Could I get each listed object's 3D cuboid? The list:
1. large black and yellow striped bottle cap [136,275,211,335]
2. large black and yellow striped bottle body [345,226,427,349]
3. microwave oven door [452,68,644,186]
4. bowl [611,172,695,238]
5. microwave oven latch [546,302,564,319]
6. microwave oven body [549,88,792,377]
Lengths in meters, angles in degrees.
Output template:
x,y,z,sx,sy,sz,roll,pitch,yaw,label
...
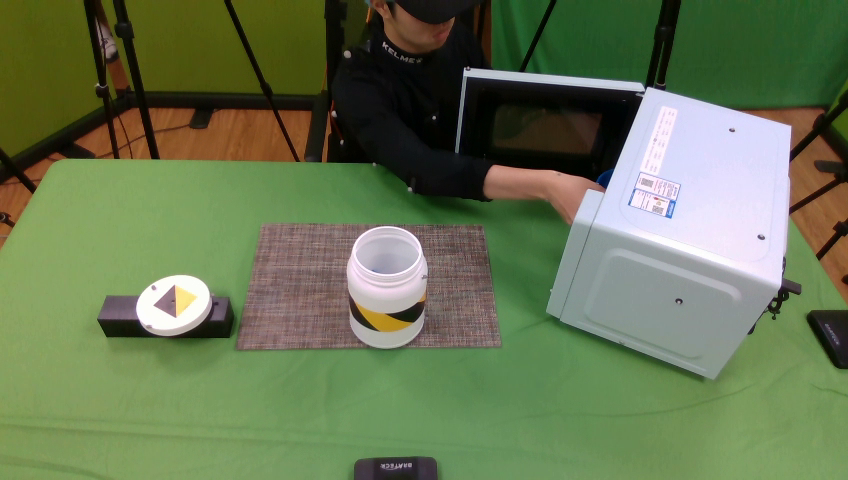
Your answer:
x,y,z,sx,sy,sz,roll,pitch,yaw,label
-0.412,0.105,0.998,0.115,0.019,0.114,3,46,-3,large black and yellow striped bottle cap
-0.062,0.078,0.998,0.131,0.185,0.130,2,46,-2,large black and yellow striped bottle body
0.246,-0.230,1.260,0.356,0.245,0.039,5,46,1,microwave oven door
0.429,-0.056,1.155,0.151,0.077,0.150,-3,41,3,bowl
0.242,0.102,1.081,0.030,0.029,0.079,21,48,17,microwave oven latch
0.456,-0.028,1.088,0.325,0.261,0.440,20,47,16,microwave oven body
